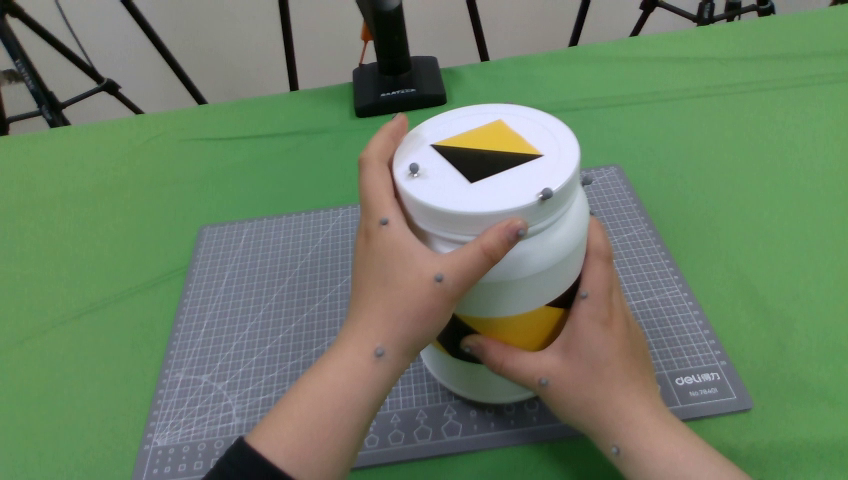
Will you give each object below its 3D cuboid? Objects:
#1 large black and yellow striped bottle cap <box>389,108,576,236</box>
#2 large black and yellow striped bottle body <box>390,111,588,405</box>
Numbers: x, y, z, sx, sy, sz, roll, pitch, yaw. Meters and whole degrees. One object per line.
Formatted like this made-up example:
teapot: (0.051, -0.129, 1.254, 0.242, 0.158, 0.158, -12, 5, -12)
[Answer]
large black and yellow striped bottle cap: (0.036, -0.046, 0.374, 0.115, 0.019, 0.114, -4, 42, 4)
large black and yellow striped bottle body: (0.047, 0.016, 0.431, 0.131, 0.186, 0.129, -5, 43, 5)
